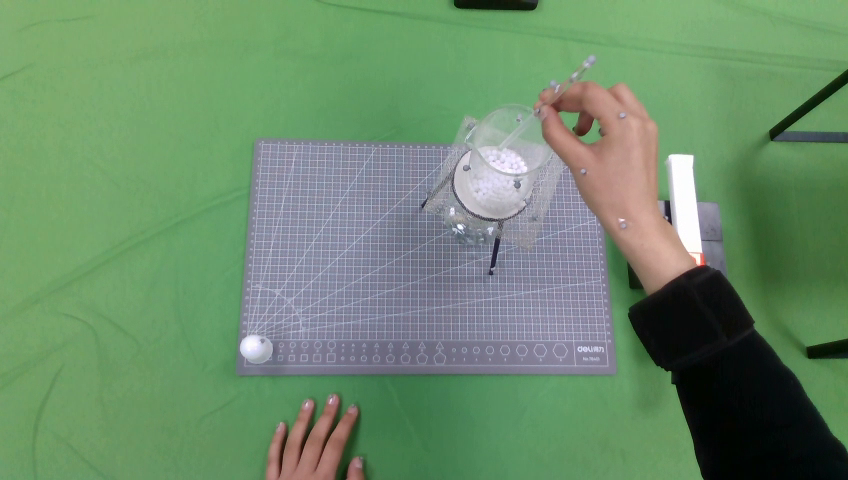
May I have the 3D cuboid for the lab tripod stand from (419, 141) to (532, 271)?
[{"bbox_3d":[0.069,-0.051,0.709,0.148,0.132,0.147,1,72,-4],"label":"lab tripod stand"}]

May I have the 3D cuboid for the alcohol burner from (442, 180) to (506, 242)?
[{"bbox_3d":[0.061,-0.039,0.715,0.078,0.119,0.077,1,75,-3],"label":"alcohol burner"}]

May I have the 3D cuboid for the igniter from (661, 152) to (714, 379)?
[{"bbox_3d":[0.308,0.024,0.716,0.057,0.025,0.275,3,73,0],"label":"igniter"}]

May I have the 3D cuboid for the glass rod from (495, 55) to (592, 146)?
[{"bbox_3d":[0.095,-0.113,0.519,0.008,0.199,0.008,2,81,-12],"label":"glass rod"}]

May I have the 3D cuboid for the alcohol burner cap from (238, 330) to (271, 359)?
[{"bbox_3d":[-0.195,0.117,0.688,0.034,0.048,0.033,1,74,-5],"label":"alcohol burner cap"}]

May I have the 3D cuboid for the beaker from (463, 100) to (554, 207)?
[{"bbox_3d":[0.076,-0.080,0.598,0.084,0.101,0.073,1,72,-3],"label":"beaker"}]

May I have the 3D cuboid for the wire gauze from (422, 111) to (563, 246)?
[{"bbox_3d":[0.076,-0.067,0.645,0.121,0.011,0.124,23,70,0],"label":"wire gauze"}]
